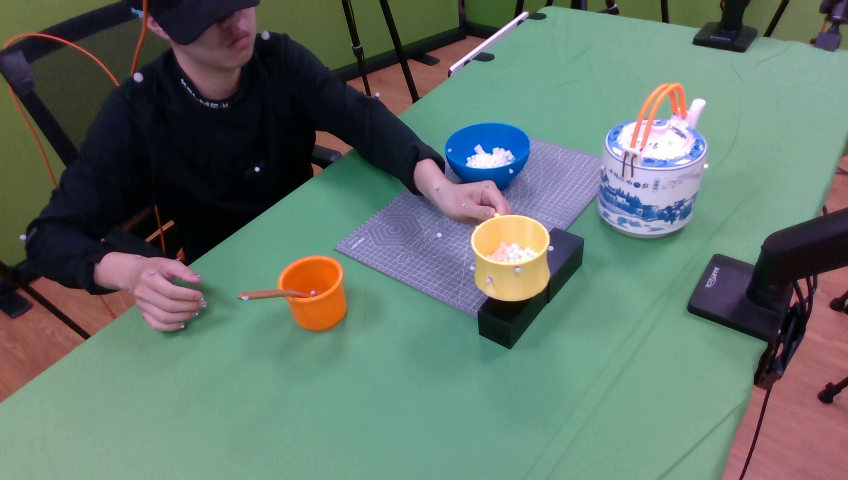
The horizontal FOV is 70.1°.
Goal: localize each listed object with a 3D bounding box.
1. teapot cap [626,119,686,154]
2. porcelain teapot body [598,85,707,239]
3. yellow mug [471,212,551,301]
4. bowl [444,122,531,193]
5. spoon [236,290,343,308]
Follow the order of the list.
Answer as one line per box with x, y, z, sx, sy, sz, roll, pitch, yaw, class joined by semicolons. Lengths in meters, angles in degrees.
0.338;-0.153;0.882;0.085;0.044;0.085;-3;38;3;teapot cap
0.363;-0.137;0.921;0.144;0.226;0.206;28;51;36;porcelain teapot body
0.111;0.012;0.795;0.100;0.064;0.130;-13;39;-5;yellow mug
0.113;-0.136;1.063;0.151;0.077;0.150;-4;41;4;bowl
-0.175;0.076;0.808;0.041;0.195;0.021;23;93;30;spoon
